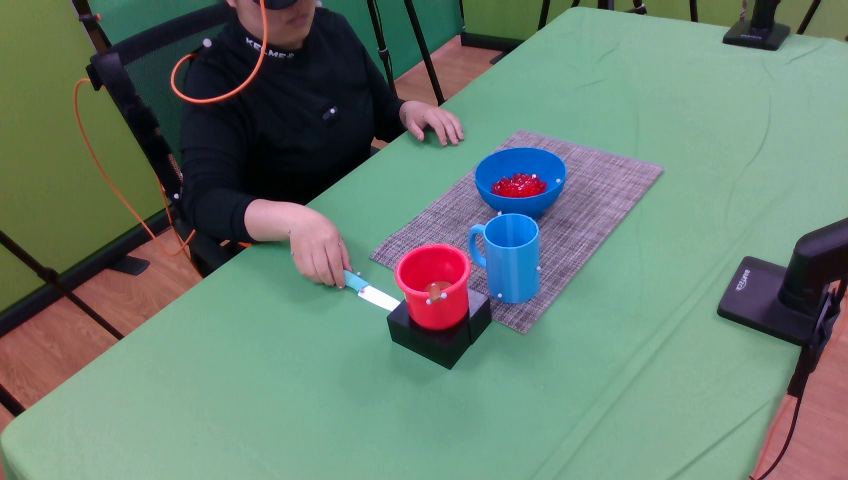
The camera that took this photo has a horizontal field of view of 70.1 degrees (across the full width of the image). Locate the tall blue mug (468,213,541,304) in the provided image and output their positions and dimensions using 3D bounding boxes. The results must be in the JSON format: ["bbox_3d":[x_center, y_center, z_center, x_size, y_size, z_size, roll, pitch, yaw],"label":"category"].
[{"bbox_3d":[0.111,0.026,0.856,0.107,0.108,0.077,2,42,13],"label":"tall blue mug"}]

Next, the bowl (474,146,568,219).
[{"bbox_3d":[0.161,-0.083,1.001,0.151,0.077,0.150,-5,40,5],"label":"bowl"}]

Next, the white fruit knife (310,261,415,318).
[{"bbox_3d":[-0.094,0.074,0.920,0.206,0.016,0.027,23,77,30],"label":"white fruit knife"}]

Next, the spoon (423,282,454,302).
[{"bbox_3d":[0.015,0.062,0.733,0.041,0.021,0.194,-5,-4,3],"label":"spoon"}]
